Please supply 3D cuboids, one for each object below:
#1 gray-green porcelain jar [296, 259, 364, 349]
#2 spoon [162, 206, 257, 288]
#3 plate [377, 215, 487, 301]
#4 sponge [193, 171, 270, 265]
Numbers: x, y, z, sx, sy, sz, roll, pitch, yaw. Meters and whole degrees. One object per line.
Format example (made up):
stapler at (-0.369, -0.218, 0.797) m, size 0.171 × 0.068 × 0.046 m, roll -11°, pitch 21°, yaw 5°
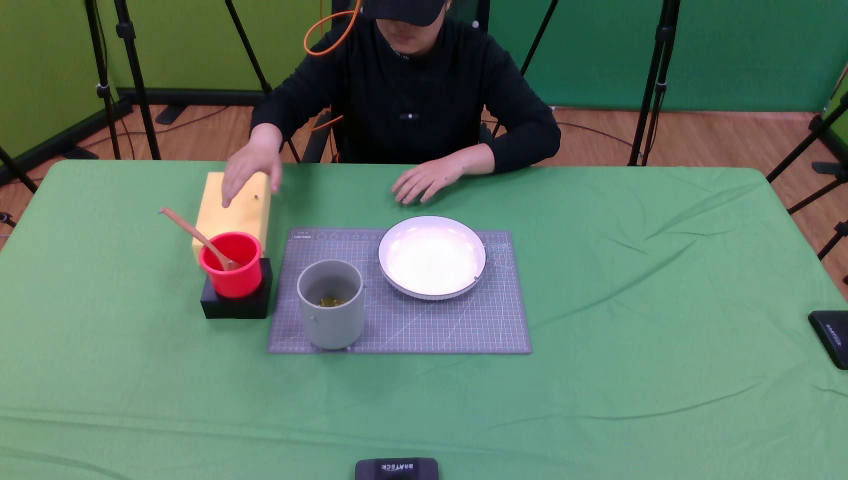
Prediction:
gray-green porcelain jar at (-0.152, 0.111, 1.003) m, size 0.106 × 0.127 × 0.105 m, roll 2°, pitch 46°, yaw -2°
spoon at (-0.355, 0.011, 1.006) m, size 0.194 × 0.021 × 0.041 m, roll 48°, pitch 45°, yaw -19°
plate at (0.014, 0.037, 1.147) m, size 0.208 × 0.039 × 0.206 m, roll 2°, pitch 46°, yaw -2°
sponge at (-0.372, -0.047, 1.189) m, size 0.118 × 0.061 × 0.205 m, roll -3°, pitch 47°, yaw -6°
